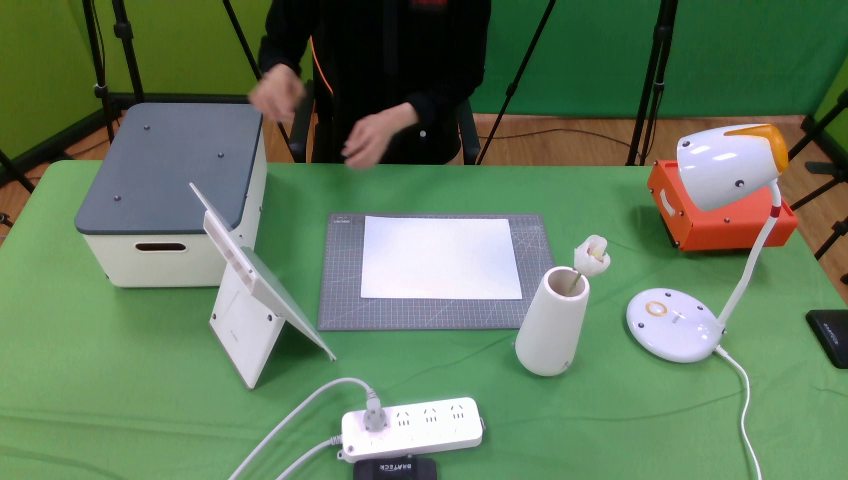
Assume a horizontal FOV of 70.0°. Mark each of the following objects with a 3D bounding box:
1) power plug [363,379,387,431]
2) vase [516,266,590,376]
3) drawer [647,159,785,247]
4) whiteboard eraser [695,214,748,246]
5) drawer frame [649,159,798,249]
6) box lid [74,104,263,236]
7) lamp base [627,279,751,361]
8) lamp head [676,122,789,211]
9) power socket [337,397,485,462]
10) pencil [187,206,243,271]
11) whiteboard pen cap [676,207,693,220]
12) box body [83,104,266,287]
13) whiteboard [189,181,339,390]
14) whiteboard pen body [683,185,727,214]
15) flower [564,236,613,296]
[{"bbox_3d":[-0.072,0.252,0.910,0.035,0.053,0.072,3,44,-1],"label":"power plug"},{"bbox_3d":[0.208,0.132,0.964,0.098,0.201,0.097,3,46,-3],"label":"vase"},{"bbox_3d":[0.582,-0.079,1.214,0.212,0.073,0.193,-1,46,-5],"label":"drawer"},{"bbox_3d":[0.592,-0.018,1.209,0.113,0.042,0.055,12,27,-36],"label":"whiteboard eraser"},{"bbox_3d":[0.588,-0.077,1.219,0.214,0.083,0.200,-2,45,-5],"label":"drawer frame"},{"bbox_3d":[-0.443,-0.139,1.095,0.263,0.015,0.369,-1,45,-5],"label":"box lid"},{"bbox_3d":[0.459,0.100,1.027,0.178,0.181,0.160,27,51,17],"label":"lamp base"},{"bbox_3d":[0.423,-0.104,0.819,0.122,0.113,0.112,-13,33,40],"label":"lamp head"},{"bbox_3d":[-0.018,0.285,0.915,0.227,0.033,0.071,-5,46,-8],"label":"power socket"},{"bbox_3d":[-0.401,-0.009,1.176,0.012,0.012,0.193,15,44,10],"label":"pencil"},{"bbox_3d":[0.524,-0.053,1.216,0.033,0.018,0.018,-28,54,-23],"label":"whiteboard pen cap"},{"bbox_3d":[-0.447,-0.088,1.150,0.254,0.161,0.361,-1,46,-5],"label":"box body"},{"bbox_3d":[-0.292,0.096,0.929,0.144,0.307,0.216,-37,57,-10],"label":"whiteboard"},{"bbox_3d":[0.572,-0.081,1.237,0.141,0.017,0.017,-26,54,-26],"label":"whiteboard pen body"},{"bbox_3d":[0.206,0.088,0.892,0.038,0.363,0.044,-17,67,-10],"label":"flower"}]
